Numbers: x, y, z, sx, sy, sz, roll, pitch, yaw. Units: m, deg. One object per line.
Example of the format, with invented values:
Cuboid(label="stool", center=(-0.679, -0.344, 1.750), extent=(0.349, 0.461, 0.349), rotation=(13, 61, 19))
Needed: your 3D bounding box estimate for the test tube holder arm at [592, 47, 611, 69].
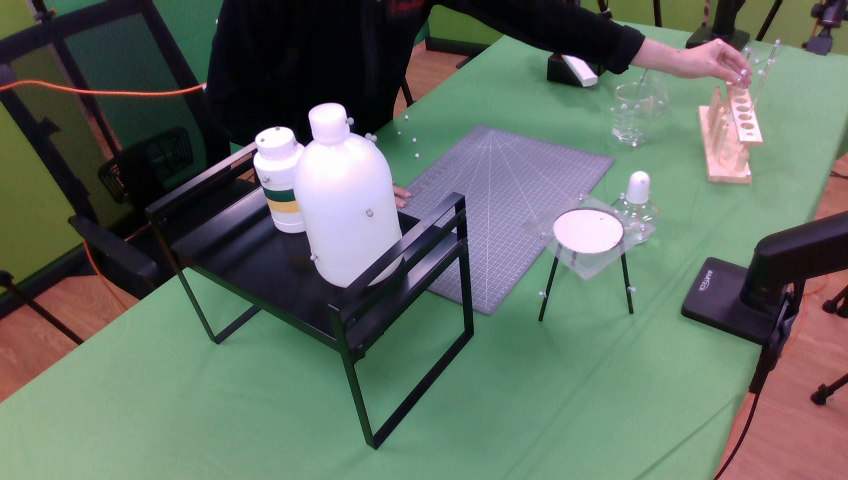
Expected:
Cuboid(label="test tube holder arm", center=(0.386, -0.398, 1.317), extent=(0.010, 0.015, 0.087), rotation=(-9, 41, -3))

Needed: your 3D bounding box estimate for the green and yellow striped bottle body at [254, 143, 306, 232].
Cuboid(label="green and yellow striped bottle body", center=(-0.165, -0.073, 0.732), extent=(0.063, 0.120, 0.063), rotation=(-4, 41, 4))

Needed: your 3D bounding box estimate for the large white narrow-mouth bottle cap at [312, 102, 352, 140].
Cuboid(label="large white narrow-mouth bottle cap", center=(-0.088, -0.114, 0.579), extent=(0.038, 0.024, 0.037), rotation=(-3, 39, 3))

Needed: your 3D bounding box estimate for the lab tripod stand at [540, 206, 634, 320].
Cuboid(label="lab tripod stand", center=(0.218, 0.034, 0.821), extent=(0.148, 0.132, 0.147), rotation=(-4, 42, 4))

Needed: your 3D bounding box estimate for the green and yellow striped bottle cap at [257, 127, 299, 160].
Cuboid(label="green and yellow striped bottle cap", center=(-0.169, -0.112, 0.699), extent=(0.045, 0.020, 0.045), rotation=(-6, 40, 5))

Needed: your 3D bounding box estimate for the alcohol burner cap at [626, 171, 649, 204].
Cuboid(label="alcohol burner cap", center=(0.320, -0.081, 0.900), extent=(0.034, 0.048, 0.033), rotation=(-4, 42, 4))

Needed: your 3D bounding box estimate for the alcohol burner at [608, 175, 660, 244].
Cuboid(label="alcohol burner", center=(0.323, -0.053, 0.924), extent=(0.078, 0.119, 0.077), rotation=(-4, 43, 4))

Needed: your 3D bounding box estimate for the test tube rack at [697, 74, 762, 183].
Cuboid(label="test tube rack", center=(0.547, -0.208, 1.094), extent=(0.066, 0.085, 0.242), rotation=(5, 42, 15))

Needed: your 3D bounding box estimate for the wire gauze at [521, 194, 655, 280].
Cuboid(label="wire gauze", center=(0.207, -0.012, 0.772), extent=(0.122, 0.011, 0.124), rotation=(-28, 44, -20))

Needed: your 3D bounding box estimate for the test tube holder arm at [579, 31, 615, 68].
Cuboid(label="test tube holder arm", center=(0.384, -0.428, 1.351), extent=(0.013, 0.015, 0.177), rotation=(-10, 41, -4))

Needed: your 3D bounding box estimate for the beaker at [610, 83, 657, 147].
Cuboid(label="beaker", center=(0.388, -0.235, 1.138), extent=(0.074, 0.101, 0.083), rotation=(-31, 45, -25))

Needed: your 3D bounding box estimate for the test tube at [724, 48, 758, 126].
Cuboid(label="test tube", center=(0.568, -0.272, 1.088), extent=(0.017, 0.151, 0.017), rotation=(-2, 43, 2))

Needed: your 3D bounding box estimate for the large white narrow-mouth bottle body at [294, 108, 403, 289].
Cuboid(label="large white narrow-mouth bottle body", center=(-0.082, -0.047, 0.634), extent=(0.102, 0.195, 0.101), rotation=(-4, 39, 3))

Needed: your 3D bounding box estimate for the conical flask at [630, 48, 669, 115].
Cuboid(label="conical flask", center=(0.457, -0.317, 1.205), extent=(0.075, 0.122, 0.075), rotation=(-4, 41, 4))

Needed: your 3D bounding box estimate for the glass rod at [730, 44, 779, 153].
Cuboid(label="glass rod", center=(0.555, -0.233, 1.020), extent=(0.008, 0.200, 0.008), rotation=(2, 39, -1))

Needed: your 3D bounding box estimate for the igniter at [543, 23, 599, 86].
Cuboid(label="igniter", center=(0.320, -0.419, 1.344), extent=(0.057, 0.025, 0.274), rotation=(-12, 44, -3))
